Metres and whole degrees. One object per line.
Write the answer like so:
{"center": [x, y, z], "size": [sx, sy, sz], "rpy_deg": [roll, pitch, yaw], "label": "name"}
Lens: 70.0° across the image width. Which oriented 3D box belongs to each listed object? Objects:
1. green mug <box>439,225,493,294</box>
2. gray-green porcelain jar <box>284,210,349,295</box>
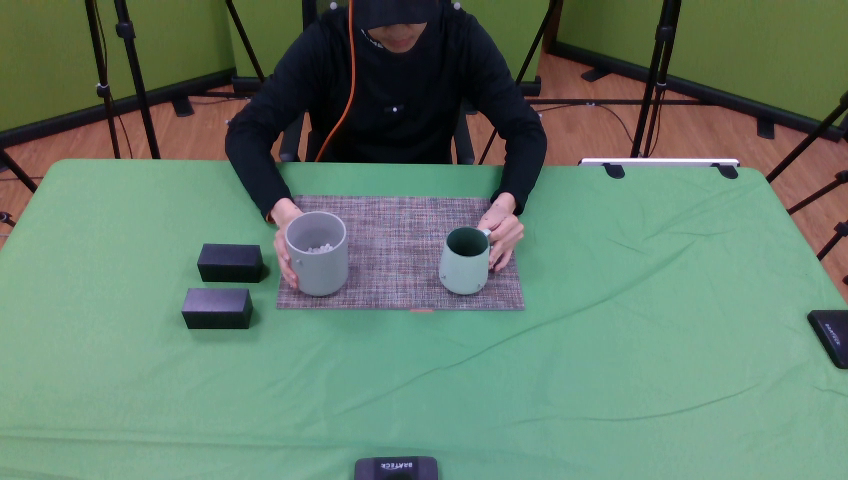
{"center": [0.085, 0.027, 1.113], "size": [0.092, 0.105, 0.125], "rpy_deg": [31, 52, 24], "label": "green mug"}
{"center": [-0.188, 0.028, 1.077], "size": [0.106, 0.127, 0.105], "rpy_deg": [2, 46, -2], "label": "gray-green porcelain jar"}
